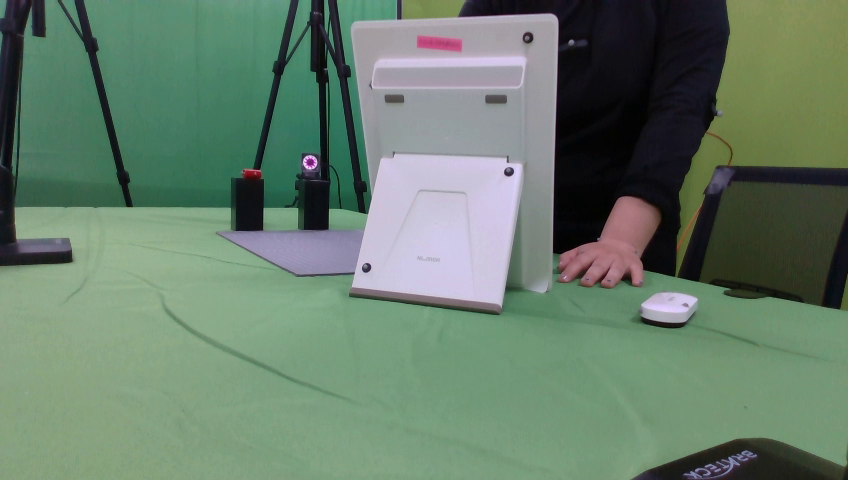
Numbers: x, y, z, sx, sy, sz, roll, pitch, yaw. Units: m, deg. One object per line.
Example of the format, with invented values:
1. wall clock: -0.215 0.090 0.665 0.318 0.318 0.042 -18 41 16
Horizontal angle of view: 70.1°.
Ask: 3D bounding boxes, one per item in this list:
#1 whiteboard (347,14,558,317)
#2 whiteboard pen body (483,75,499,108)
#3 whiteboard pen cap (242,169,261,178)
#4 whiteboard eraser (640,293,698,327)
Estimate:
1. whiteboard: 0.012 -0.055 0.608 0.216 0.305 0.144 6 28 20
2. whiteboard pen body: 0.076 -0.168 0.686 0.017 0.017 0.140 4 26 6
3. whiteboard pen cap: -0.326 -0.125 1.144 0.032 0.017 0.017 0 7 -37
4. whiteboard eraser: 0.240 0.066 0.589 0.041 0.019 0.102 5 7 32
